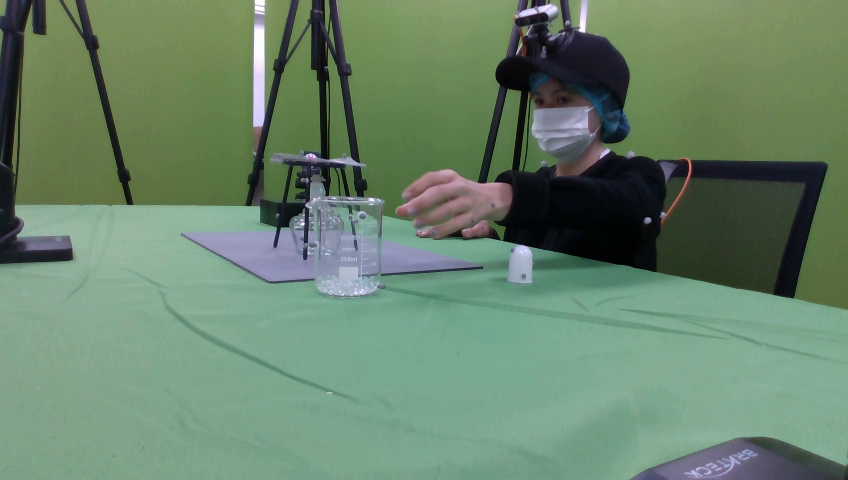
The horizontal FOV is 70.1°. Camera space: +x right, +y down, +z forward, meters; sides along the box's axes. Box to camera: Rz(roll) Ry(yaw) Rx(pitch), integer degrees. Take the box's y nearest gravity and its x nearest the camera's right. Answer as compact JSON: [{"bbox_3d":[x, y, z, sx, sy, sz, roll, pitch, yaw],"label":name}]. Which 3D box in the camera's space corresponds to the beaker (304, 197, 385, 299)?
[{"bbox_3d":[-0.083,0.007,0.629,0.084,0.100,0.073,-1,7,-21],"label":"beaker"}]

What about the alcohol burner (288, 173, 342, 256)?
[{"bbox_3d":[-0.157,-0.037,0.871,0.078,0.119,0.078,1,6,0],"label":"alcohol burner"}]

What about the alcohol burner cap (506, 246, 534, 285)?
[{"bbox_3d":[0.119,0.031,0.740,0.034,0.048,0.034,2,7,0],"label":"alcohol burner cap"}]

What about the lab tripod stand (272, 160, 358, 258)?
[{"bbox_3d":[-0.159,-0.048,0.876,0.148,0.131,0.148,3,5,0],"label":"lab tripod stand"}]

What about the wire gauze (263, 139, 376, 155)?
[{"bbox_3d":[-0.151,-0.130,0.869,0.122,0.011,0.124,-8,5,-35],"label":"wire gauze"}]
